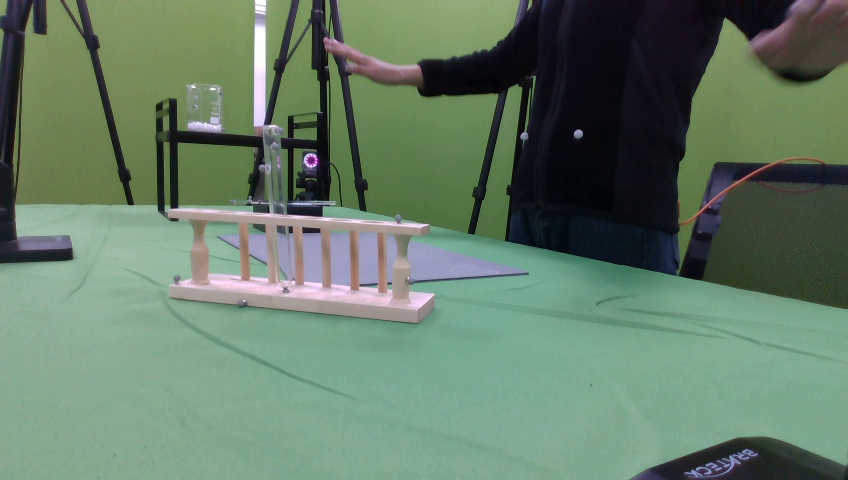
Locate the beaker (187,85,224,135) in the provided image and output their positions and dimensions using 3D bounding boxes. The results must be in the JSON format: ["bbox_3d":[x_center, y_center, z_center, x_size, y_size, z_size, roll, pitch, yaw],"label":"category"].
[{"bbox_3d":[-0.466,-0.275,1.286,0.074,0.100,0.084,5,8,22],"label":"beaker"}]

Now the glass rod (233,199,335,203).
[{"bbox_3d":[-0.264,-0.076,1.160,0.201,0.008,0.008,-2,9,-31],"label":"glass rod"}]

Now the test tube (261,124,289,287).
[{"bbox_3d":[-0.137,-0.030,0.557,0.017,0.150,0.017,-3,6,1],"label":"test tube"}]

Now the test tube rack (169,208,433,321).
[{"bbox_3d":[-0.115,0.017,0.574,0.242,0.085,0.067,4,8,13],"label":"test tube rack"}]
